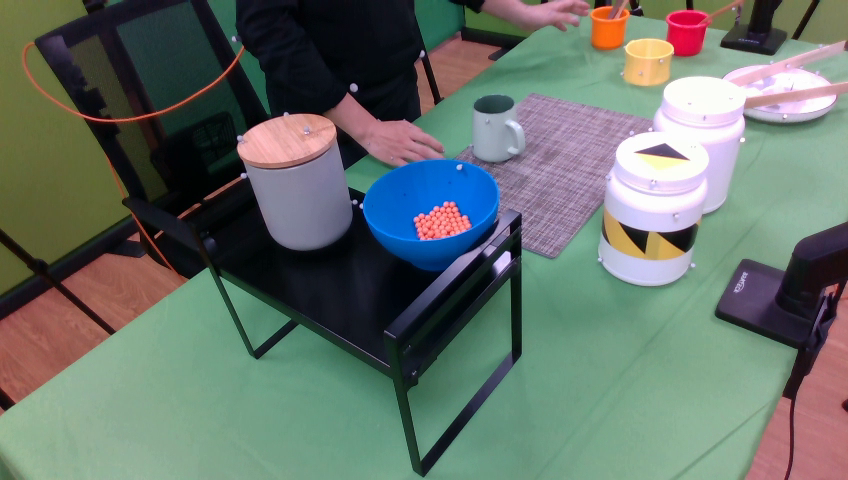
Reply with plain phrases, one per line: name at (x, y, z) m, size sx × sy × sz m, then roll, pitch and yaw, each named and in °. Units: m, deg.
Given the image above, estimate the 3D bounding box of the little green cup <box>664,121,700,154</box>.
little green cup at (0.473, -0.188, 1.113) m, size 0.061 × 0.039 × 0.061 m, roll -5°, pitch 40°, yaw 5°

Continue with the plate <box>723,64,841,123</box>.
plate at (0.695, -0.282, 1.189) m, size 0.207 × 0.039 × 0.206 m, roll -4°, pitch 40°, yaw 4°

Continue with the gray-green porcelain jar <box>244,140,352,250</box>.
gray-green porcelain jar at (-0.144, -0.060, 0.714) m, size 0.106 × 0.127 × 0.105 m, roll -4°, pitch 41°, yaw 4°

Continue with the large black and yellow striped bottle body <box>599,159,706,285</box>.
large black and yellow striped bottle body at (0.320, -0.042, 0.854) m, size 0.131 × 0.185 × 0.130 m, roll -4°, pitch 41°, yaw 4°

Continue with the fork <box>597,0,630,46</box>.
fork at (0.480, -0.556, 1.452) m, size 0.028 × 0.019 × 0.207 m, roll 38°, pitch 102°, yaw 37°

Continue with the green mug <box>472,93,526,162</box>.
green mug at (0.144, -0.202, 1.122) m, size 0.093 × 0.105 × 0.124 m, roll -29°, pitch 45°, yaw -23°

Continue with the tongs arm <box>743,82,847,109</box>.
tongs arm at (0.738, -0.282, 1.133) m, size 0.388 × 0.028 × 0.028 m, roll -9°, pitch 46°, yaw -5°

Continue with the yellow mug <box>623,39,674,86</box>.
yellow mug at (0.485, -0.398, 1.334) m, size 0.100 × 0.064 × 0.130 m, roll -18°, pitch 40°, yaw -10°

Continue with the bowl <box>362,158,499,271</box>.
bowl at (0.011, -0.019, 0.679) m, size 0.151 × 0.077 × 0.150 m, roll -5°, pitch 41°, yaw 5°

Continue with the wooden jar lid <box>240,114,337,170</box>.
wooden jar lid at (-0.149, -0.106, 0.673) m, size 0.108 × 0.021 × 0.108 m, roll -6°, pitch 39°, yaw 5°

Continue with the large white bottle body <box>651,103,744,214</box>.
large white bottle body at (0.426, -0.146, 0.958) m, size 0.130 × 0.185 × 0.130 m, roll -4°, pitch 40°, yaw 4°

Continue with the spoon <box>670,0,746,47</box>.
spoon at (0.629, -0.484, 1.350) m, size 0.022 × 0.193 × 0.042 m, roll 48°, pitch 54°, yaw -7°

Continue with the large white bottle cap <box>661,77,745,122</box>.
large white bottle cap at (0.415, -0.210, 0.904) m, size 0.115 × 0.018 × 0.114 m, roll -4°, pitch 40°, yaw 4°

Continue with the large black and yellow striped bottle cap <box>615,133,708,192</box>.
large black and yellow striped bottle cap at (0.312, -0.105, 0.798) m, size 0.115 × 0.019 × 0.114 m, roll -5°, pitch 41°, yaw 5°

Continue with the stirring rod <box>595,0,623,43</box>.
stirring rod at (0.461, -0.555, 1.459) m, size 0.014 × 0.006 × 0.176 m, roll 31°, pitch 93°, yaw 26°

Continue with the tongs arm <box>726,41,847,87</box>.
tongs arm at (0.712, -0.332, 1.194) m, size 0.386 × 0.026 × 0.050 m, roll -18°, pitch 44°, yaw -16°
